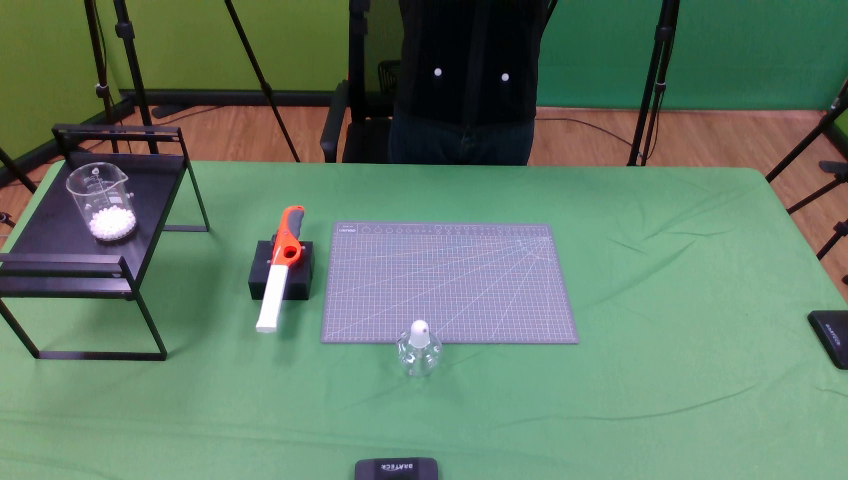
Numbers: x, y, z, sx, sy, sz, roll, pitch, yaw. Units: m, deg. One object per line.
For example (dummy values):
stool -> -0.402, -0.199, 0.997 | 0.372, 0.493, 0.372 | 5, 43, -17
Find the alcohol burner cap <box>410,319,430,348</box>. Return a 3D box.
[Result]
alcohol burner cap -> -0.007, 0.144, 0.950 | 0.034, 0.048, 0.033 | 1, 47, -1

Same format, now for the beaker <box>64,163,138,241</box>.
beaker -> -0.477, -0.055, 0.910 | 0.084, 0.101, 0.073 | -9, 48, -13

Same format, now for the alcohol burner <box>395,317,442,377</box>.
alcohol burner -> -0.009, 0.166, 0.972 | 0.078, 0.120, 0.077 | 1, 45, 0

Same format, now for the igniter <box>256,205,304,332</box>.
igniter -> -0.252, 0.040, 1.070 | 0.057, 0.025, 0.275 | 3, 50, -2
